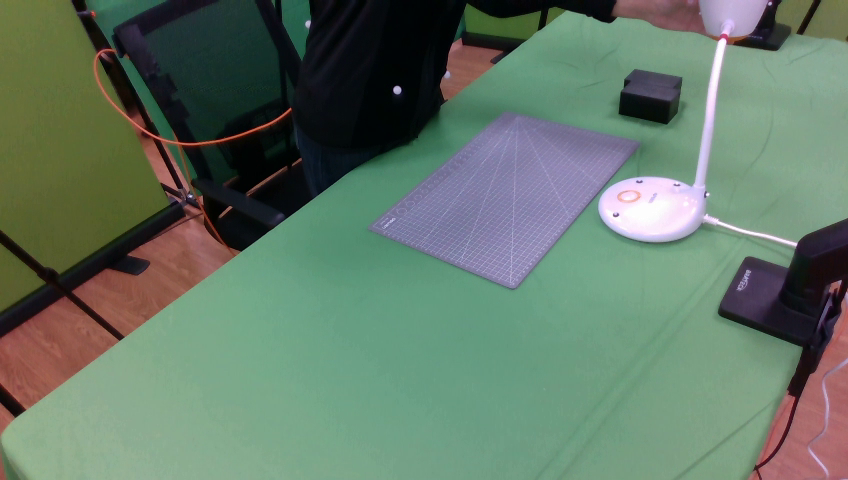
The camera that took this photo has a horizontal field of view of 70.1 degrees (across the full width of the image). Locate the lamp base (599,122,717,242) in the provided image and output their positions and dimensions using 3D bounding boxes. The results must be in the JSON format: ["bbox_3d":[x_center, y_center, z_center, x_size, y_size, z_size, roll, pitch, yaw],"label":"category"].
[{"bbox_3d":[0.367,-0.108,0.919,0.178,0.181,0.160,12,45,20],"label":"lamp base"}]

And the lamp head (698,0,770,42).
[{"bbox_3d":[0.470,-0.364,0.917,0.112,0.123,0.112,-7,34,5],"label":"lamp head"}]
